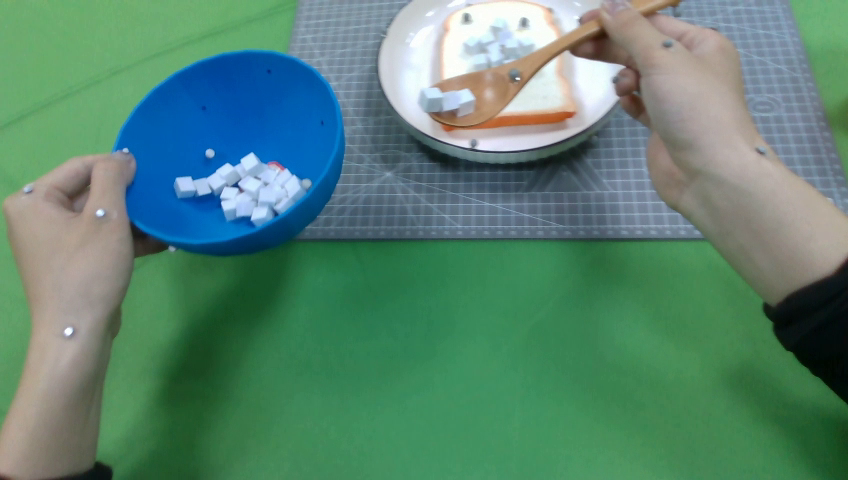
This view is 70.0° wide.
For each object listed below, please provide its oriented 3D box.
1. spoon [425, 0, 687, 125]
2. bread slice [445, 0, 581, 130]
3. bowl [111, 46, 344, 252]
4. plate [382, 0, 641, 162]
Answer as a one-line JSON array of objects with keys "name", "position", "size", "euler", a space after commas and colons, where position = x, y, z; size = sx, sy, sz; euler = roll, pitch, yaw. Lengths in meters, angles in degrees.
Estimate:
[{"name": "spoon", "position": [0.090, -0.116, 0.359], "size": [0.194, 0.022, 0.041], "euler": [-27, 57, 0]}, {"name": "bread slice", "position": [0.067, -0.150, 0.512], "size": [0.107, 0.018, 0.133], "euler": [-6, 62, 5]}, {"name": "bowl", "position": [-0.121, -0.049, 0.416], "size": [0.151, 0.077, 0.150], "euler": [-3, 63, 7]}, {"name": "plate", "position": [0.069, -0.147, 0.507], "size": [0.209, 0.038, 0.207], "euler": [-3, 61, 7]}]
